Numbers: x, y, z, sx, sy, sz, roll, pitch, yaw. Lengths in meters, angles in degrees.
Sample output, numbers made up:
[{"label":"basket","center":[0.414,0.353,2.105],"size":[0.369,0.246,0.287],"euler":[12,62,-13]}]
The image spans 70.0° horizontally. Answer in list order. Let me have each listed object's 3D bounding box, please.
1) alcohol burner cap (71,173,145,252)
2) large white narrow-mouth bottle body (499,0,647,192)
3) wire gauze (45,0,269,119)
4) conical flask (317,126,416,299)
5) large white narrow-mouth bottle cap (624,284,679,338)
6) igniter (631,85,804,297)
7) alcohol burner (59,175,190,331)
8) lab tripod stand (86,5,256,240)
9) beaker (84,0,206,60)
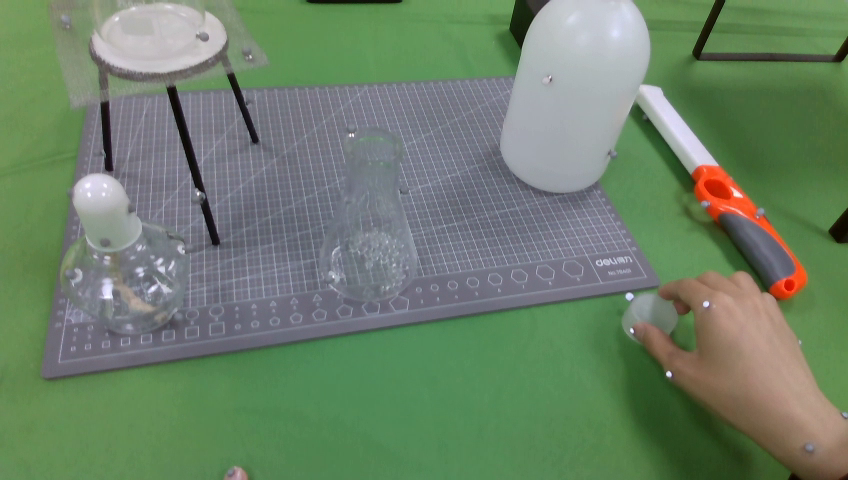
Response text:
[{"label":"alcohol burner cap","center":[-0.188,-0.018,0.357],"size":[0.034,0.048,0.033],"euler":[4,54,-5]},{"label":"large white narrow-mouth bottle body","center":[0.127,-0.139,0.504],"size":[0.102,0.196,0.101],"euler":[4,48,-4]},{"label":"wire gauze","center":[-0.182,-0.137,0.411],"size":[0.122,0.011,0.124],"euler":[-19,58,-21]},{"label":"conical flask","center":[-0.038,-0.020,0.424],"size":[0.075,0.123,0.074],"euler":[4,48,-4]},{"label":"large white narrow-mouth bottle cap","center":[0.173,0.054,0.461],"size":[0.038,0.024,0.037],"euler":[4,48,-4]},{"label":"igniter","center":[0.266,-0.058,0.569],"size":[0.057,0.025,0.273],"euler":[1,48,-21]},{"label":"alcohol burner","center":[-0.193,0.005,0.385],"size":[0.078,0.120,0.077],"euler":[5,46,-5]},{"label":"lab tripod stand","center":[-0.185,-0.092,0.459],"size":[0.148,0.132,0.147],"euler":[5,48,-6]},{"label":"beaker","center":[-0.181,-0.171,0.375],"size":[0.084,0.101,0.073],"euler":[-12,53,-18]}]
